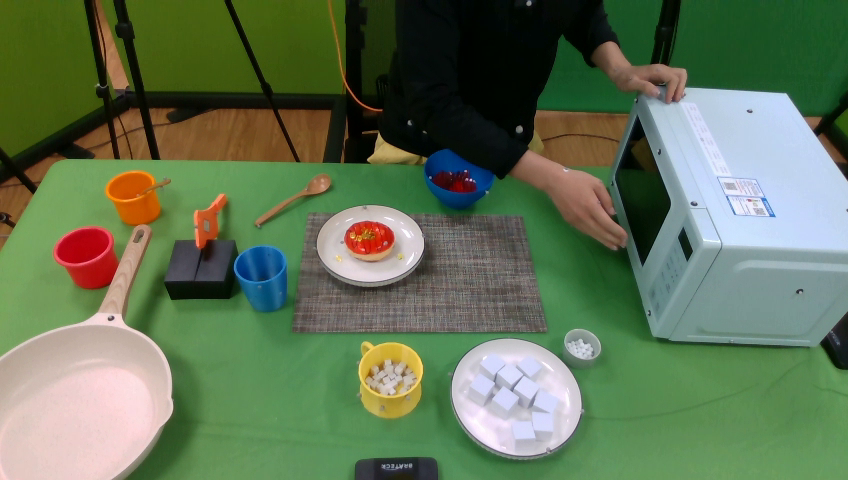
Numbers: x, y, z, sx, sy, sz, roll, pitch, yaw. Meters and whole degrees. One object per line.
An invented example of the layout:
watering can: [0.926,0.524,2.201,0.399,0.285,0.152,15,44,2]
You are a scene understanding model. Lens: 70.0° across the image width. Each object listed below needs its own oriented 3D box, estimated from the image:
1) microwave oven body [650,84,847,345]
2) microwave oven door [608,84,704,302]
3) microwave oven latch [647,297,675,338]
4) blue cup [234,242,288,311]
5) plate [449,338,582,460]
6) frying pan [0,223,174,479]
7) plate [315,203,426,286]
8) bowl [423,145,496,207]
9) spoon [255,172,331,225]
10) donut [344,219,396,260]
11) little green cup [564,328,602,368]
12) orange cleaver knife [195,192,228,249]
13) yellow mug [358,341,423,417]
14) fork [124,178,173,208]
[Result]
microwave oven body: [0.568,-0.054,1.116,0.326,0.261,0.439,2,46,-1]
microwave oven door: [0.424,-0.095,1.138,0.039,0.245,0.353,3,46,-1]
microwave oven latch: [0.413,0.133,1.060,0.030,0.029,0.078,5,46,2]
blue cup: [-0.276,0.071,1.052,0.093,0.101,0.092,1,48,-1]
plate: [0.141,0.251,0.955,0.208,0.039,0.206,2,47,-2]
frying pan: [-0.505,0.169,0.941,0.307,0.103,0.485,5,54,-1]
plate: [-0.101,0.012,1.159,0.209,0.038,0.208,2,46,-2]
bowl: [0.073,-0.123,1.277,0.151,0.077,0.150,2,46,-2]
spoon: [-0.272,-0.087,1.257,0.041,0.022,0.193,46,57,12]
donut: [-0.103,-0.003,1.157,0.099,0.048,0.098,3,43,-3]
little green cup: [0.266,0.185,1.025,0.061,0.039,0.061,3,44,-2]
orange cleaver knife: [-0.406,-0.041,1.163,0.012,0.077,0.210,-1,18,-3]
yellow mug: [-0.062,0.210,0.961,0.100,0.064,0.130,-29,54,-27]
fork: [-0.525,-0.090,1.154,0.207,0.019,0.028,-17,27,45]
